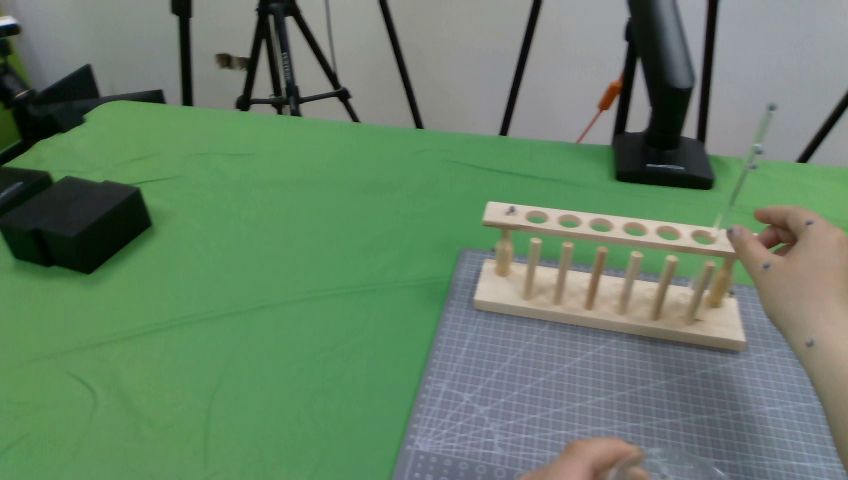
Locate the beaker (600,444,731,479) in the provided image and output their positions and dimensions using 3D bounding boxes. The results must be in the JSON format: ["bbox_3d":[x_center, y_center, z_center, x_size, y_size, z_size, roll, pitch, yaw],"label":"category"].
[{"bbox_3d":[0.122,0.173,0.330,0.084,0.101,0.073,-3,35,-4],"label":"beaker"}]

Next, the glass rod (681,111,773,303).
[{"bbox_3d":[0.255,-0.018,0.519,0.008,0.201,0.008,3,39,-2],"label":"glass rod"}]

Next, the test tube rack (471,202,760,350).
[{"bbox_3d":[0.170,0.031,0.565,0.242,0.086,0.066,8,37,11],"label":"test tube rack"}]
